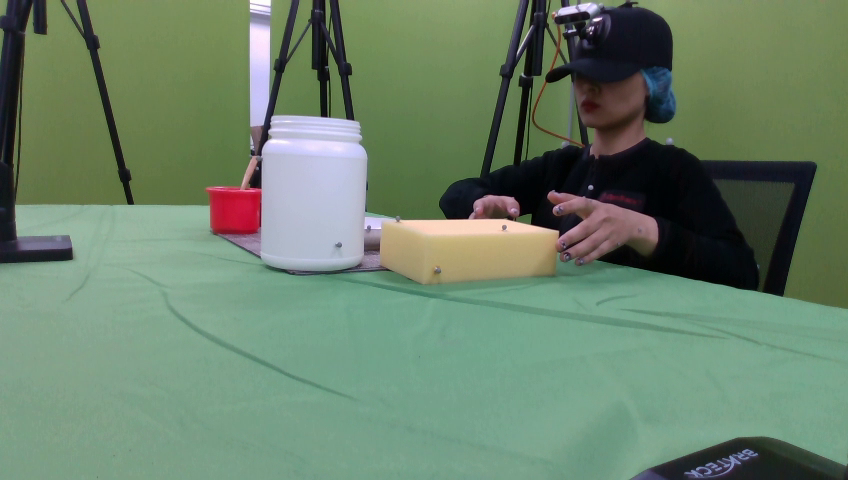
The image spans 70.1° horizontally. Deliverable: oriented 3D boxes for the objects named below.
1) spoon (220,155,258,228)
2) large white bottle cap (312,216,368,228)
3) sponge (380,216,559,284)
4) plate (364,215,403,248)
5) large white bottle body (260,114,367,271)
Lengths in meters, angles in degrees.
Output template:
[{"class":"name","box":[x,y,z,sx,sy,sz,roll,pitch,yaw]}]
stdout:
[{"class":"spoon","box":[-0.325,-0.090,1.091,0.041,0.021,0.193,3,51,3]},{"class":"large white bottle cap","box":[-0.171,-0.038,1.234,0.115,0.018,0.115,2,5,0]},{"class":"sponge","box":[0.059,0.008,0.786,0.208,0.061,0.117,-3,11,-32]},{"class":"plate","box":[-0.122,-0.015,0.984,0.209,0.038,0.209,2,7,0]},{"class":"large white bottle body","box":[-0.139,-0.062,0.763,0.131,0.184,0.130,3,8,0]}]
